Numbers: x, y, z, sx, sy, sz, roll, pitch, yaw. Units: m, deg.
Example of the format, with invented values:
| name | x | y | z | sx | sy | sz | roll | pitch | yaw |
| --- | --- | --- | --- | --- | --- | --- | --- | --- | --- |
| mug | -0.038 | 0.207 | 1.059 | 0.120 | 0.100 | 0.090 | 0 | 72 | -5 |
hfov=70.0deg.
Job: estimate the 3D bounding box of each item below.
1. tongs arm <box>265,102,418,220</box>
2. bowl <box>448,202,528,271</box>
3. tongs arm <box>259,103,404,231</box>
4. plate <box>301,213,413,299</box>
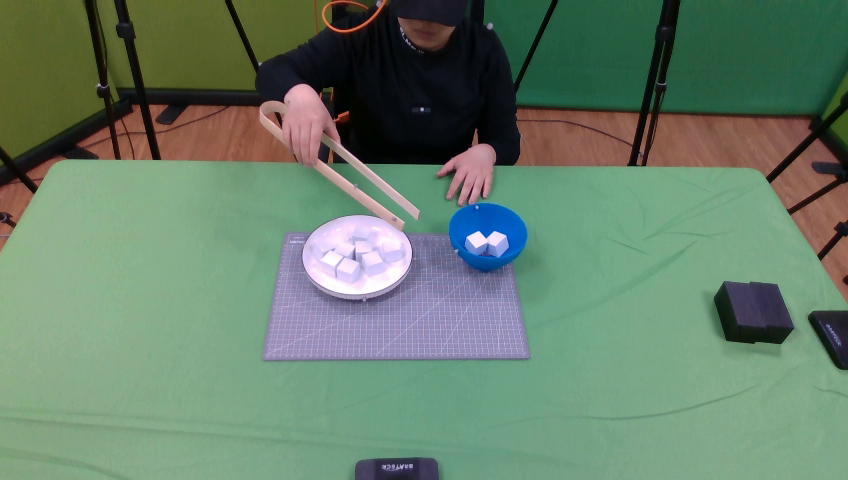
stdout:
| name | x | y | z | sx | sy | sz | roll | pitch | yaw |
| --- | --- | --- | --- | --- | --- | --- | --- | --- | --- |
| tongs arm | -0.160 | -0.156 | 1.154 | 0.386 | 0.028 | 0.028 | 38 | 55 | 16 |
| bowl | 0.118 | 0.006 | 1.160 | 0.151 | 0.077 | 0.150 | 2 | 46 | -2 |
| tongs arm | -0.178 | -0.142 | 1.137 | 0.383 | 0.026 | 0.050 | 35 | 51 | 14 |
| plate | -0.124 | 0.033 | 1.143 | 0.208 | 0.039 | 0.206 | 2 | 46 | -2 |
